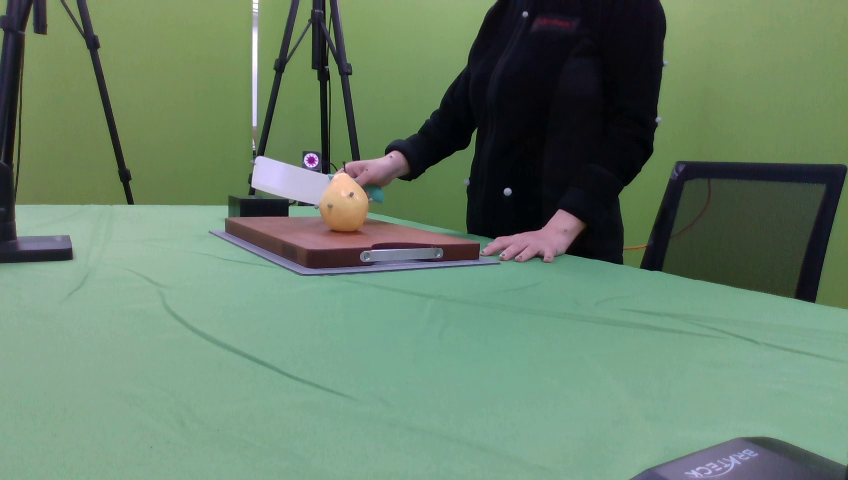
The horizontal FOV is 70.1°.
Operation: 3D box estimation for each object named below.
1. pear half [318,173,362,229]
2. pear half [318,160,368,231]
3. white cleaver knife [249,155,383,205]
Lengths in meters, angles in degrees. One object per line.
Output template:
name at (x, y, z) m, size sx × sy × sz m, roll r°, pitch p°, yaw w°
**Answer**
pear half at (-0.136, -0.062, 0.959) m, size 0.071 × 0.088 × 0.031 m, roll -7°, pitch 11°, yaw -30°
pear half at (-0.120, -0.067, 0.927) m, size 0.077 × 0.110 × 0.055 m, roll -7°, pitch 11°, yaw -29°
white cleaver knife at (-0.181, -0.091, 1.065) m, size 0.021 × 0.066 × 0.288 m, roll -5°, pitch -10°, yaw 43°
